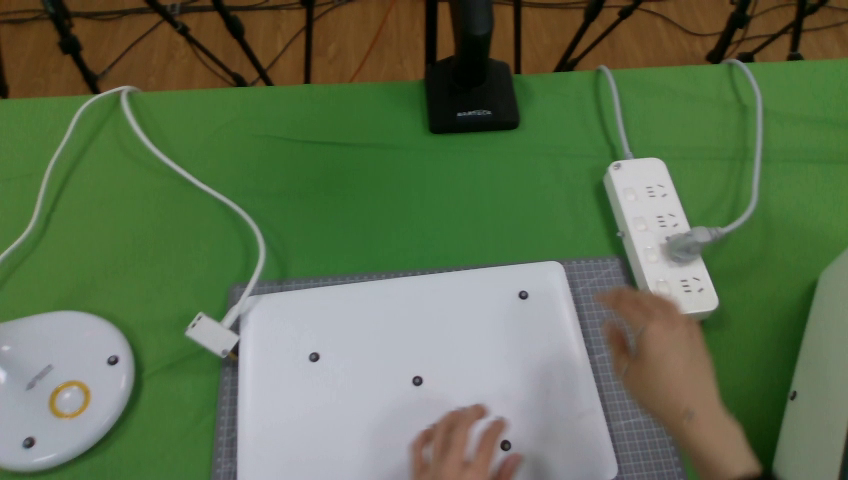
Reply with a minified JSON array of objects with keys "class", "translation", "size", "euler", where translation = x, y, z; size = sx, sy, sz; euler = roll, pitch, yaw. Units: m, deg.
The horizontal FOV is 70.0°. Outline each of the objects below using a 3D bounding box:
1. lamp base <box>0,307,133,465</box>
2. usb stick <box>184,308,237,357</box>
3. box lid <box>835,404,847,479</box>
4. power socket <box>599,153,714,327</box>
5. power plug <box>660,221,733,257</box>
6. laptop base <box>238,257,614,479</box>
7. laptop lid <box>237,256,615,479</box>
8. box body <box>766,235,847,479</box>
[{"class":"lamp base","translation":[-0.384,0.097,0.538],"size":[0.178,0.182,0.160],"euler":[19,61,13]},{"class":"usb stick","translation":[-0.211,0.096,0.615],"size":[0.060,0.021,0.027],"euler":[45,72,-27]},{"class":"box lid","translation":[0.479,0.122,0.470],"size":[0.262,0.015,0.370],"euler":[25,63,13]},{"class":"power socket","translation":[0.265,-0.010,0.703],"size":[0.072,0.033,0.224],"euler":[-5,60,-6]},{"class":"power plug","translation":[0.299,0.003,0.670],"size":[0.072,0.053,0.035],"euler":[5,59,0]},{"class":"laptop base","translation":[-0.008,0.142,0.616],"size":[0.355,0.023,0.233],"euler":[-7,64,-5]},{"class":"laptop lid","translation":[-0.007,0.138,0.605],"size":[0.357,0.013,0.239],"euler":[-5,63,-4]},{"class":"box body","translation":[0.477,0.161,0.534],"size":[0.253,0.161,0.362],"euler":[25,62,12]}]
